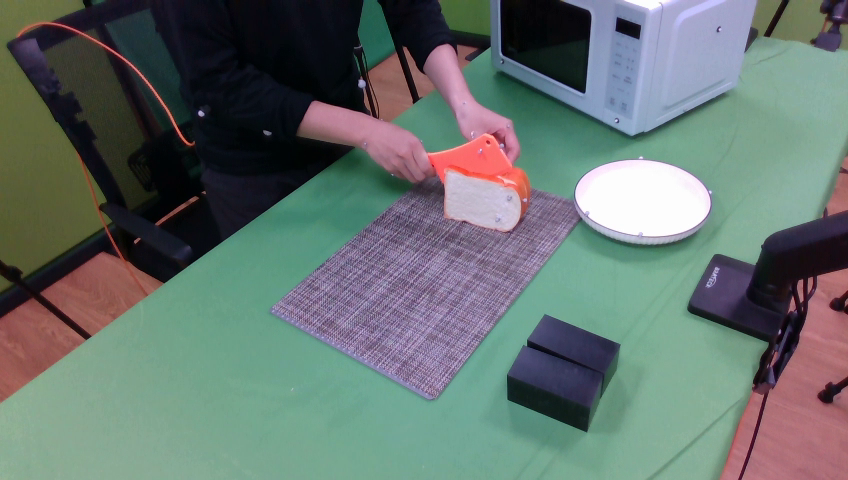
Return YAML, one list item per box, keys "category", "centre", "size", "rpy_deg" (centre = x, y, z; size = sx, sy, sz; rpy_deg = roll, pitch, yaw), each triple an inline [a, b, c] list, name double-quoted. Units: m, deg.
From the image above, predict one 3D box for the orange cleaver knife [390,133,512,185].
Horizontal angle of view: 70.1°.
- category: "orange cleaver knife"
  centre: [0.040, -0.119, 0.962]
  size: [0.210, 0.077, 0.012]
  rpy_deg: [-5, 29, 34]

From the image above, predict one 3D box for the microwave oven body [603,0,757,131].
- category: "microwave oven body"
  centre: [0.396, -0.448, 1.248]
  size: [0.327, 0.261, 0.437]
  rpy_deg: [-27, 44, -21]

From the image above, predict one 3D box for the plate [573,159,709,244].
- category: "plate"
  centre: [0.347, -0.059, 0.979]
  size: [0.207, 0.039, 0.206]
  rpy_deg: [-4, 41, 4]

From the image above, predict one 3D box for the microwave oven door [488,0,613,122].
- category: "microwave oven door"
  centre: [0.250, -0.412, 1.219]
  size: [0.039, 0.245, 0.352]
  rpy_deg: [-27, 44, -21]

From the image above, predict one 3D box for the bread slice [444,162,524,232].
- category: "bread slice"
  centre: [0.094, -0.066, 0.964]
  size: [0.133, 0.107, 0.018]
  rpy_deg: [16, 45, 20]

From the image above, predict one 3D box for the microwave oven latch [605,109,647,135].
- category: "microwave oven latch"
  centre: [0.379, -0.225, 1.139]
  size: [0.030, 0.029, 0.078]
  rpy_deg: [-26, 43, -19]
